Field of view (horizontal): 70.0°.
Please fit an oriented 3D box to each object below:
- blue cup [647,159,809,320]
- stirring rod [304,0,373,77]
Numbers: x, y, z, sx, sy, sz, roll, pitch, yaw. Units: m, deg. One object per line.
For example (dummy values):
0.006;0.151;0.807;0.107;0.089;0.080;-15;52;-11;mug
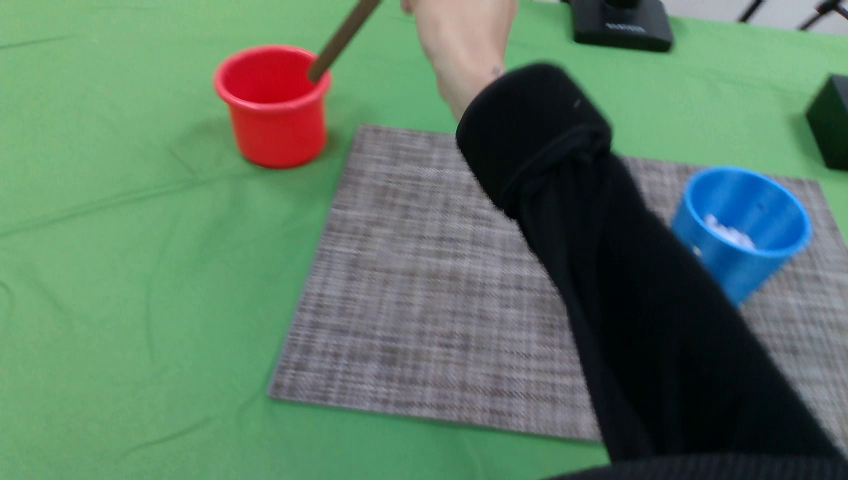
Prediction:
0.210;0.007;0.444;0.093;0.101;0.091;3;49;-4;blue cup
-0.036;-0.178;0.423;0.014;0.176;0.006;54;35;7;stirring rod
